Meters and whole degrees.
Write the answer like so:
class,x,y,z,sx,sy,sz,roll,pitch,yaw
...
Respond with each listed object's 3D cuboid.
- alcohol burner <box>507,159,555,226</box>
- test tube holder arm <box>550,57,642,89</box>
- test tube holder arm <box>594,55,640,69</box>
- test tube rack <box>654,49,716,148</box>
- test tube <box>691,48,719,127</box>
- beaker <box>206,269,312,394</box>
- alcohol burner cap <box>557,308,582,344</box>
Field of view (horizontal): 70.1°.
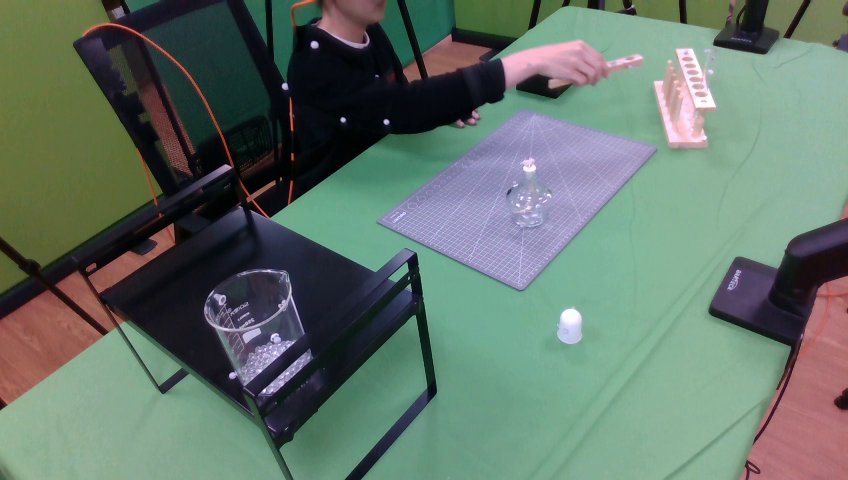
class,x,y,z,sx,sy,sz,roll,pitch,yaw
alcohol burner,0.172,-0.081,0.969,0.078,0.119,0.077,-4,42,4
test tube holder arm,0.309,-0.302,1.087,0.179,0.015,0.013,-18,41,-9
test tube holder arm,0.350,-0.319,1.098,0.088,0.015,0.010,-17,40,-9
test tube rack,0.502,-0.281,1.176,0.066,0.085,0.241,2,41,11
test tube,0.505,-0.271,1.089,0.017,0.151,0.017,-2,38,2
beaker,-0.146,0.086,0.560,0.073,0.101,0.084,19,46,27
alcohol burner cap,0.194,0.111,0.802,0.034,0.048,0.033,-4,39,4
